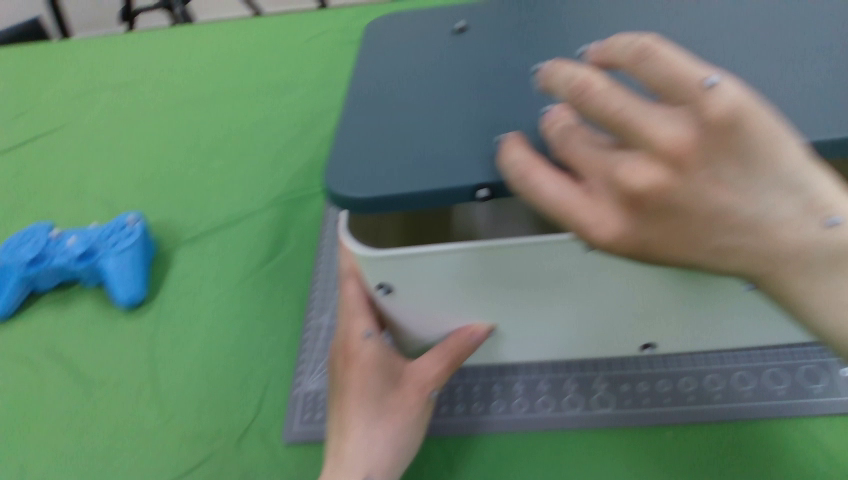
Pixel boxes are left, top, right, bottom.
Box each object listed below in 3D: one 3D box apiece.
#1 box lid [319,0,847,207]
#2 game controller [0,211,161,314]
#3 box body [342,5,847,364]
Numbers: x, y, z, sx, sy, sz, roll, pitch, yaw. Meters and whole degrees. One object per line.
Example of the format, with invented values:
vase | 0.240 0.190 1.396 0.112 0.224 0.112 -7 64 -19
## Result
box lid | 0.125 -0.115 0.394 0.371 0.015 0.260 -5 39 6
game controller | -0.326 0.016 0.568 0.155 0.052 0.096 -4 46 5
box body | 0.141 -0.051 0.466 0.364 0.162 0.251 -5 49 6
